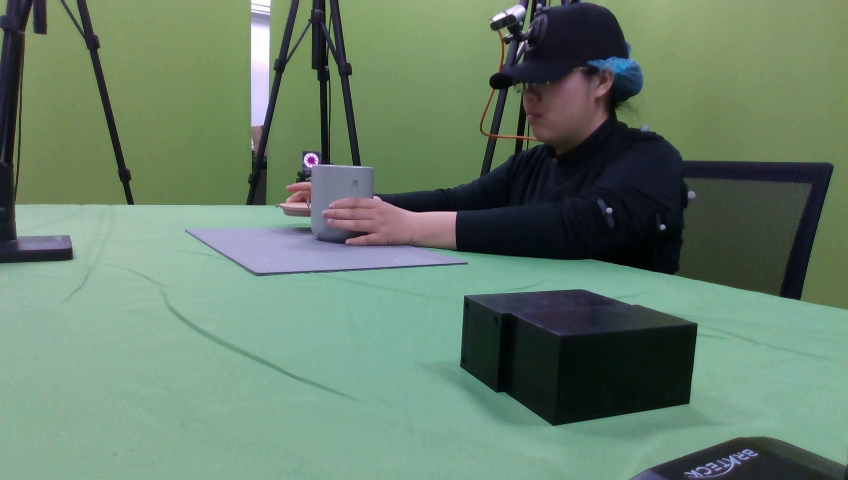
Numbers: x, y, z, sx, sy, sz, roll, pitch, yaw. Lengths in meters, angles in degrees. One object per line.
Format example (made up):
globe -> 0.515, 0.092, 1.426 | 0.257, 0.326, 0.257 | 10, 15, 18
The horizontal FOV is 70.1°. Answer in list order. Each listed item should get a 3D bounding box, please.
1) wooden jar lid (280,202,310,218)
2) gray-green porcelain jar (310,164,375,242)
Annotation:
wooden jar lid -> -0.216, -0.057, 1.140 | 0.108, 0.020, 0.108 | 1, 11, 0
gray-green porcelain jar -> -0.139, -0.063, 1.025 | 0.106, 0.126, 0.106 | 3, 8, 0
